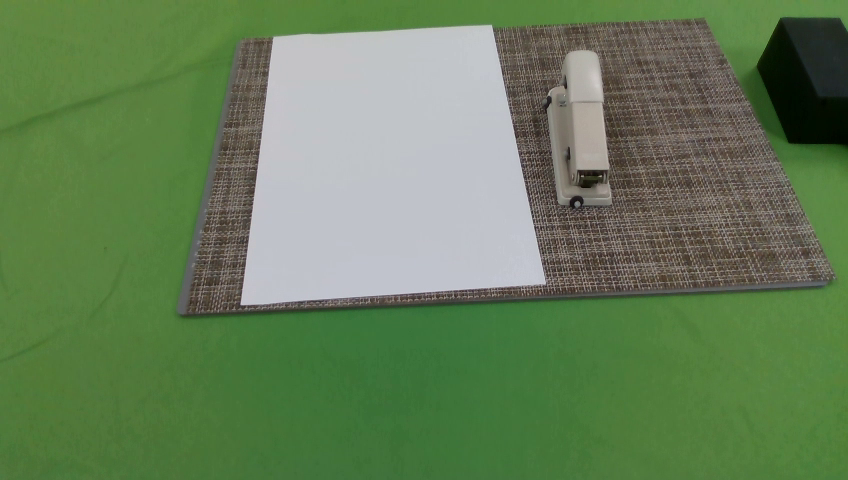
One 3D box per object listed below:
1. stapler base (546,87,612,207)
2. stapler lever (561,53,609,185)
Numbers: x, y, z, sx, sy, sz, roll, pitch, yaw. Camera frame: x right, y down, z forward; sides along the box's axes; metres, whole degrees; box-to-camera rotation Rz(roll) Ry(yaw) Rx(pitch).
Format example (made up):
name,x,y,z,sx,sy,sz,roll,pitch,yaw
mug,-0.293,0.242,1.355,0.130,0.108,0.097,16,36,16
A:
name,x,y,z,sx,sy,sz,roll,pitch,yaw
stapler base,0.125,-0.084,0.489,0.041,0.024,0.129,-1,56,4
stapler lever,0.124,-0.097,0.467,0.027,0.040,0.117,-1,55,5
